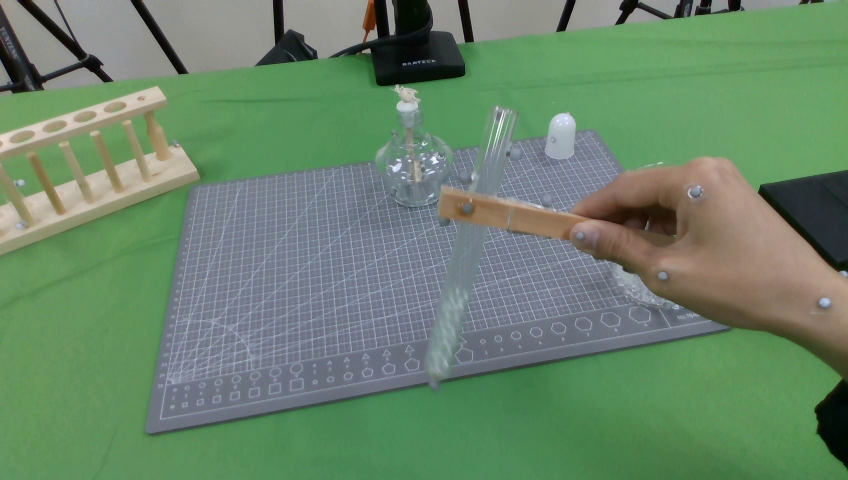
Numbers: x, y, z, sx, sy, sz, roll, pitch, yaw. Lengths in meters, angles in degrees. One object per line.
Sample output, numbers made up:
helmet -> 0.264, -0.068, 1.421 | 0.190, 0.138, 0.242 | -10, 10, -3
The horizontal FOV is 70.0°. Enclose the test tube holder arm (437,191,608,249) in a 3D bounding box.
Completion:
test tube holder arm -> 0.051, -0.010, 0.311 | 0.088, 0.015, 0.010 | 11, 18, -8

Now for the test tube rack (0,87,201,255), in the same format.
test tube rack -> -0.362, -0.065, 0.604 | 0.242, 0.086, 0.066 | -26, 47, -22

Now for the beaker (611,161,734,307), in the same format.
beaker -> 0.189, -0.003, 0.483 | 0.074, 0.101, 0.083 | -30, 47, -26

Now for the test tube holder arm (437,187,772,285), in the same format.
test tube holder arm -> 0.095, -0.002, 0.319 | 0.178, 0.015, 0.013 | 12, 18, -2

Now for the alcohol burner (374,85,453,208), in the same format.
alcohol burner -> -0.012, -0.092, 0.583 | 0.078, 0.120, 0.077 | -3, 41, 3

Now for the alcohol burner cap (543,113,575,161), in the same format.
alcohol burner cap -> 0.146, -0.113, 0.649 | 0.034, 0.048, 0.033 | -2, 43, 2

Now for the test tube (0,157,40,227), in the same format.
test tube -> -0.392, -0.072, 0.548 | 0.017, 0.152, 0.017 | -3, 41, 3

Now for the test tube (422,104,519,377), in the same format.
test tube -> 0.022, 0.004, 0.318 | 0.017, 0.150, 0.017 | 13, 14, -3
